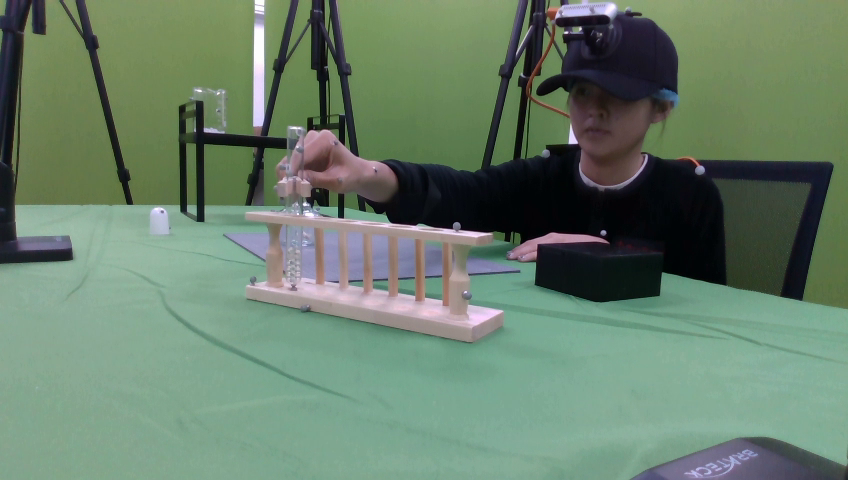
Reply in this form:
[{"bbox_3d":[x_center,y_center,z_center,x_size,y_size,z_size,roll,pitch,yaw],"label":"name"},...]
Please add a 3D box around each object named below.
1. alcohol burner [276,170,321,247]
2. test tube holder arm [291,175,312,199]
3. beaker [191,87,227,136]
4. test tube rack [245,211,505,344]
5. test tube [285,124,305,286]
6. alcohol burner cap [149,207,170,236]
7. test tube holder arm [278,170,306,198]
[{"bbox_3d":[-0.200,-0.050,0.948,0.078,0.119,0.078,1,8,0],"label":"alcohol burner"},{"bbox_3d":[-0.121,-0.052,0.586,0.010,0.015,0.087,4,11,-21],"label":"test tube holder arm"},{"bbox_3d":[-0.476,-0.284,1.345,0.074,0.100,0.083,-3,10,-37],"label":"beaker"},{"bbox_3d":[-0.049,0.025,0.547,0.241,0.085,0.067,7,8,29],"label":"test tube rack"},{"bbox_3d":[-0.120,-0.031,0.560,0.017,0.150,0.017,3,9,0],"label":"test tube"},{"bbox_3d":[-0.445,-0.032,1.019,0.034,0.048,0.034,4,8,0],"label":"alcohol burner cap"},{"bbox_3d":[-0.135,-0.061,0.628,0.013,0.015,0.178,7,10,-9],"label":"test tube holder arm"}]
